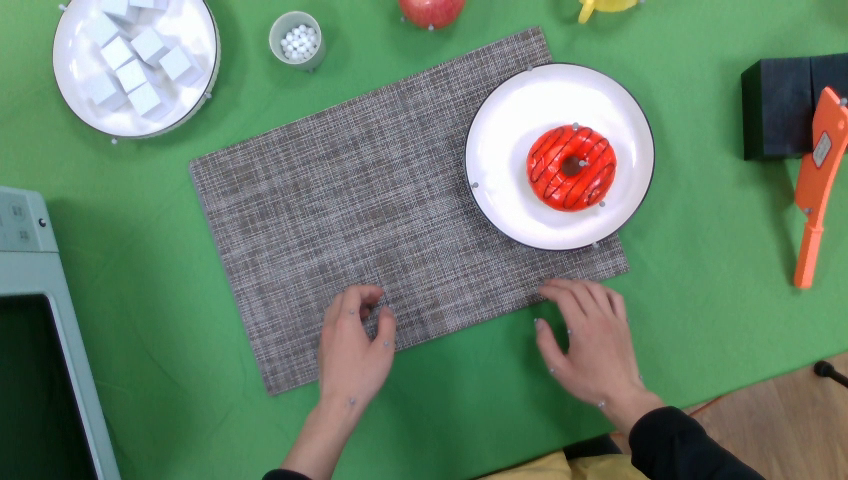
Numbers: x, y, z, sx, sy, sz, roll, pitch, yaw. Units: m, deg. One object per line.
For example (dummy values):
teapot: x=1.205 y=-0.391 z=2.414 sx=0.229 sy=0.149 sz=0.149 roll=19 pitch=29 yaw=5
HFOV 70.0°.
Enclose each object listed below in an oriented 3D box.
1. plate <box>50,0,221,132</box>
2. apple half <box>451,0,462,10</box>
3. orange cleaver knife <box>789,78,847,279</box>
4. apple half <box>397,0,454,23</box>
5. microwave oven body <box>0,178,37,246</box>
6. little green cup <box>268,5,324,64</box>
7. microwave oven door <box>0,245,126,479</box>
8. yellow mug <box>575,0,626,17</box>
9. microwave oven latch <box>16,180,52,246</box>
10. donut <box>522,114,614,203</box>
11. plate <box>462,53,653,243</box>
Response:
plate: x=-0.341 y=-0.231 z=0.730 sx=0.207 sy=0.039 sz=0.207 roll=0 pitch=90 yaw=5
apple half: x=0.028 y=-0.300 z=0.678 sx=0.033 sy=0.081 sz=0.081 roll=-29 pitch=86 yaw=9
orange cleaver knife: x=0.408 y=-0.059 z=0.638 sx=0.012 sy=0.076 sz=0.213 roll=0 pitch=119 yaw=9
apple half: x=-0.006 y=-0.281 z=0.683 sx=0.053 sy=0.074 sz=0.081 roll=-29 pitch=91 yaw=9
microwave oven body: x=-0.570 y=0.180 z=0.633 sx=0.326 sy=0.260 sz=0.441 roll=-17 pitch=89 yaw=4
little green cup: x=-0.148 y=-0.239 z=0.712 sx=0.061 sy=0.038 sz=0.061 roll=0 pitch=89 yaw=6
microwave oven door: x=-0.419 y=0.178 z=0.614 sx=0.039 sy=0.244 sz=0.355 roll=-18 pitch=88 yaw=5
yellow mug: x=0.201 y=-0.306 z=0.666 sx=0.100 sy=0.064 sz=0.131 roll=28 pitch=93 yaw=5
microwave oven latch: x=-0.472 y=-0.031 z=0.722 sx=0.030 sy=0.029 sz=0.079 roll=-15 pitch=89 yaw=4
donut: x=0.158 y=-0.089 z=0.668 sx=0.099 sy=0.048 sz=0.099 roll=0 pitch=91 yaw=6
plate: x=0.146 y=-0.100 z=0.680 sx=0.209 sy=0.038 sz=0.209 roll=0 pitch=90 yaw=6
